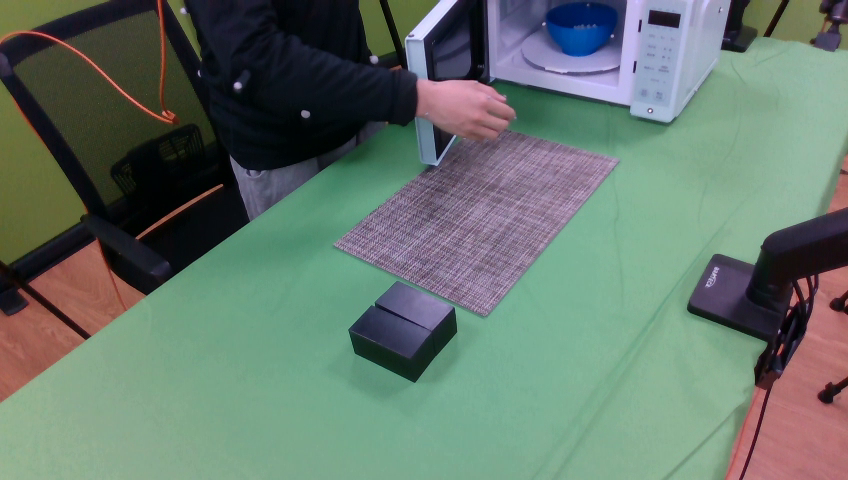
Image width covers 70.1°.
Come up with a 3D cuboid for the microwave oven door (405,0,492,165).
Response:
[{"bbox_3d":[0.059,-0.343,1.166,0.039,0.245,0.355,10,43,20],"label":"microwave oven door"}]

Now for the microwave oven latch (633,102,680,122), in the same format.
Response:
[{"bbox_3d":[0.444,-0.249,1.157,0.078,0.029,0.030,21,49,30],"label":"microwave oven latch"}]

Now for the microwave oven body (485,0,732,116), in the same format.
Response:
[{"bbox_3d":[0.377,-0.462,1.267,0.438,0.261,0.327,21,48,30],"label":"microwave oven body"}]
